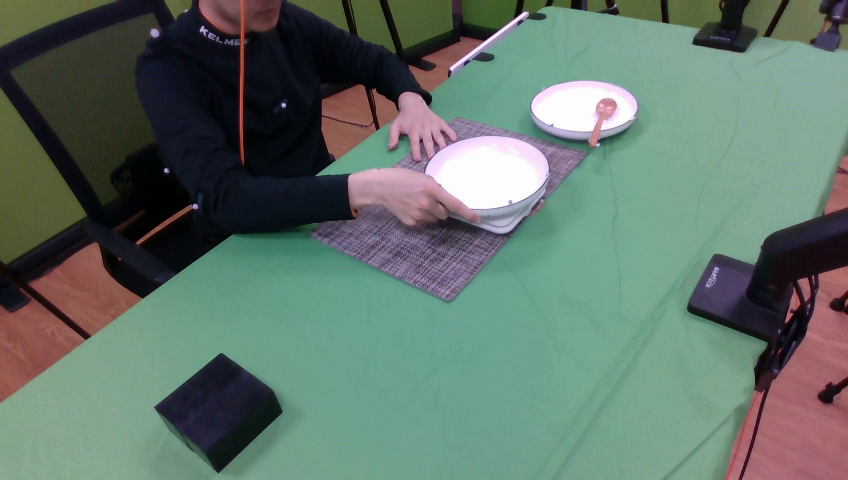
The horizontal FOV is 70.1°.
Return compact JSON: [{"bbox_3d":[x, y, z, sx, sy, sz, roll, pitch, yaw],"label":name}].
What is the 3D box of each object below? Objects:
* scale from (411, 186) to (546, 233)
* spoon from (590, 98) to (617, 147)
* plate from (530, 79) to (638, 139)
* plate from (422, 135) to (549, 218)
[{"bbox_3d":[0.092,-0.083,1.039,0.199,0.032,0.149,22,48,30],"label":"scale"},{"bbox_3d":[0.334,-0.225,1.145,0.041,0.022,0.194,11,37,20],"label":"spoon"},{"bbox_3d":[0.317,-0.257,1.209,0.209,0.038,0.208,-4,41,4],"label":"plate"},{"bbox_3d":[0.102,-0.102,1.001,0.207,0.039,0.206,-4,42,4],"label":"plate"}]
